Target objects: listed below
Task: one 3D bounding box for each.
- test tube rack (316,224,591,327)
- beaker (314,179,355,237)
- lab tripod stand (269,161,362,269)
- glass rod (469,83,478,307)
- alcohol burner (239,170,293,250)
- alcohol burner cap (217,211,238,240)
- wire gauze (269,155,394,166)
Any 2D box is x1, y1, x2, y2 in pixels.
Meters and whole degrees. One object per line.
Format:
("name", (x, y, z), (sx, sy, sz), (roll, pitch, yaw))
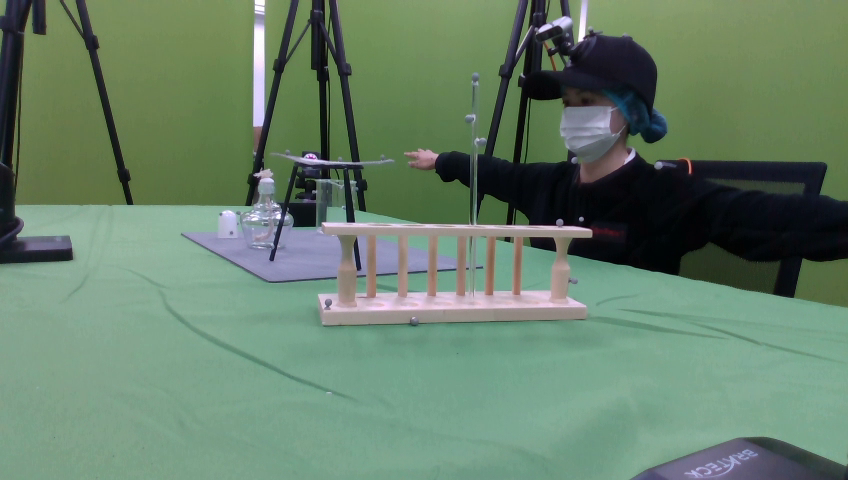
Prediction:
("test tube rack", (0.026, 0.028, 0.555), (0.243, 0.085, 0.066), (1, 7, -15))
("beaker", (-0.162, -0.058, 1.094), (0.074, 0.100, 0.083), (0, 9, -21))
("lab tripod stand", (-0.125, -0.036, 0.794), (0.148, 0.131, 0.148), (5, 7, 0))
("glass rod", (0.043, -0.033, 0.523), (0.008, 0.199, 0.008), (-1, 14, 1))
("alcohol burner", (-0.237, -0.045, 0.904), (0.078, 0.119, 0.078), (1, 8, 0))
("alcohol burner cap", (-0.323, -0.024, 0.994), (0.034, 0.048, 0.034), (3, 8, 0))
("wire gauze", (-0.121, -0.102, 0.785), (0.122, 0.011, 0.124), (-3, 10, -39))
